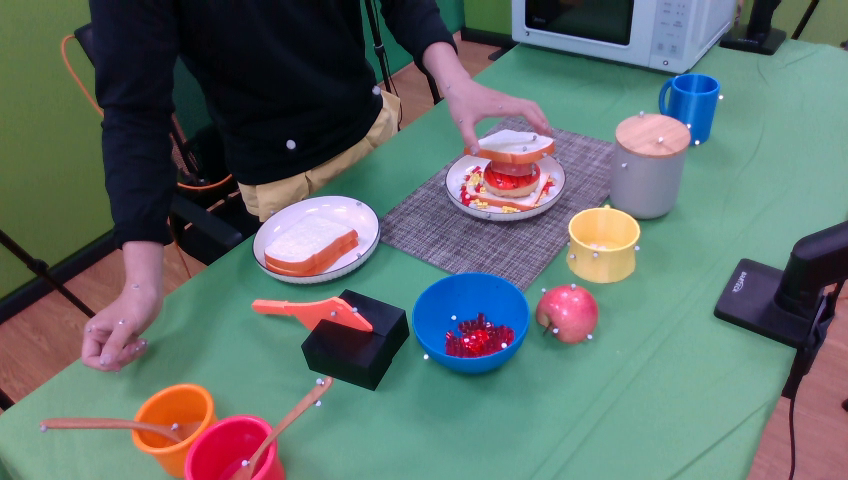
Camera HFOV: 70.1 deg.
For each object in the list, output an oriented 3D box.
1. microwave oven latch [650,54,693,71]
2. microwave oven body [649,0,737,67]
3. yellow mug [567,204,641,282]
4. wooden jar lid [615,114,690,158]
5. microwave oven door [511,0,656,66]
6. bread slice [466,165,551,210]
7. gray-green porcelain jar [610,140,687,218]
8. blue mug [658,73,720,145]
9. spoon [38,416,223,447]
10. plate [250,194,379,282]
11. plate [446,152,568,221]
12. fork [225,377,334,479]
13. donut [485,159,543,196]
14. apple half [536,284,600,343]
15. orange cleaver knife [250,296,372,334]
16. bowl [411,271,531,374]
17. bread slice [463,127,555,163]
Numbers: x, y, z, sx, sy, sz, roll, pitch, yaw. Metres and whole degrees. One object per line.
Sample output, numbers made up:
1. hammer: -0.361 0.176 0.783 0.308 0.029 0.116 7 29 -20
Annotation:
1. microwave oven latch: 0.531 -0.386 1.301 0.078 0.029 0.030 26 51 33
2. microwave oven body: 0.475 -0.602 1.411 0.438 0.261 0.327 23 50 32
3. yellow mug: 0.268 -0.005 0.905 0.099 0.064 0.130 7 42 15
4. wooden jar lid: 0.347 -0.155 0.923 0.108 0.021 0.108 -3 44 4
5. microwave oven door: 0.350 -0.539 1.348 0.353 0.245 0.039 24 50 31
6. bread slice: 0.141 -0.093 1.041 0.133 0.018 0.107 8 42 20
7. gray-green porcelain jar: 0.354 -0.106 0.964 0.106 0.127 0.105 -4 41 4
8. blue mug: 0.483 -0.250 1.127 0.082 0.106 0.115 -26 44 -19
9. spoon: -0.320 0.209 0.677 0.021 0.195 0.041 -53 41 16
10. plate: -0.174 -0.001 0.984 0.209 0.038 0.208 -3 40 3
11. plate: 0.142 -0.097 1.045 0.207 0.039 0.206 -4 40 4
12. fork: -0.163 0.216 0.646 0.207 0.019 0.028 -49 43 16
13. donut: 0.151 -0.112 1.018 0.099 0.048 0.098 -4 41 4
14. apple half: 0.196 0.091 0.815 0.075 0.053 0.080 -22 42 -20
15. orange cleaver knife: -0.159 0.103 0.828 0.210 0.078 0.012 -4 43 39
16. bowl: 0.062 0.119 0.780 0.151 0.077 0.150 -4 40 4
17. bread slice: 0.144 -0.154 0.972 0.105 0.019 0.130 -28 33 -35
